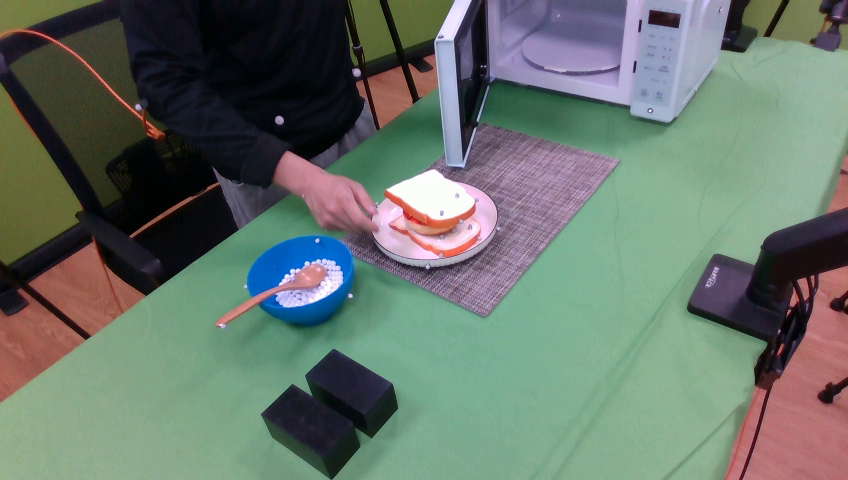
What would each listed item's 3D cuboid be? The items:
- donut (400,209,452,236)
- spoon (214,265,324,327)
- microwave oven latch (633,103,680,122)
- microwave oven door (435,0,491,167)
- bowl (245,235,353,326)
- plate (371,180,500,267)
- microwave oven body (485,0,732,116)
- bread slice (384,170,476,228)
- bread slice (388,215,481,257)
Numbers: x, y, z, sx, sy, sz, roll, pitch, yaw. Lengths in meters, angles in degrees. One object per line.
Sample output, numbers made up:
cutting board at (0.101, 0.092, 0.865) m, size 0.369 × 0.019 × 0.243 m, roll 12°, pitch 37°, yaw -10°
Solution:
donut at (0.012, -0.048, 0.956) m, size 0.099 × 0.048 × 0.098 m, roll -8°, pitch 43°, yaw 8°
spoon at (-0.207, 0.073, 0.821) m, size 0.041 × 0.021 × 0.195 m, roll 21°, pitch 26°, yaw 26°
microwave oven latch at (0.443, -0.249, 1.157) m, size 0.078 × 0.029 × 0.030 m, roll 20°, pitch 48°, yaw 30°
microwave oven door at (0.083, -0.339, 1.159) m, size 0.039 × 0.245 × 0.355 m, roll 4°, pitch 42°, yaw 13°
bowl at (-0.171, 0.069, 0.868) m, size 0.151 × 0.077 × 0.150 m, roll -4°, pitch 41°, yaw 4°
plate at (0.020, -0.025, 0.977) m, size 0.207 × 0.039 × 0.206 m, roll -4°, pitch 40°, yaw 4°
microwave oven body at (0.377, -0.462, 1.267) m, size 0.438 × 0.261 × 0.327 m, roll 21°, pitch 49°, yaw 30°
bread slice at (0.017, -0.064, 0.935) m, size 0.105 × 0.019 × 0.130 m, roll -27°, pitch 46°, yaw -31°
bread slice at (0.025, -0.023, 0.973) m, size 0.107 × 0.018 × 0.133 m, roll -36°, pitch 49°, yaw -28°
